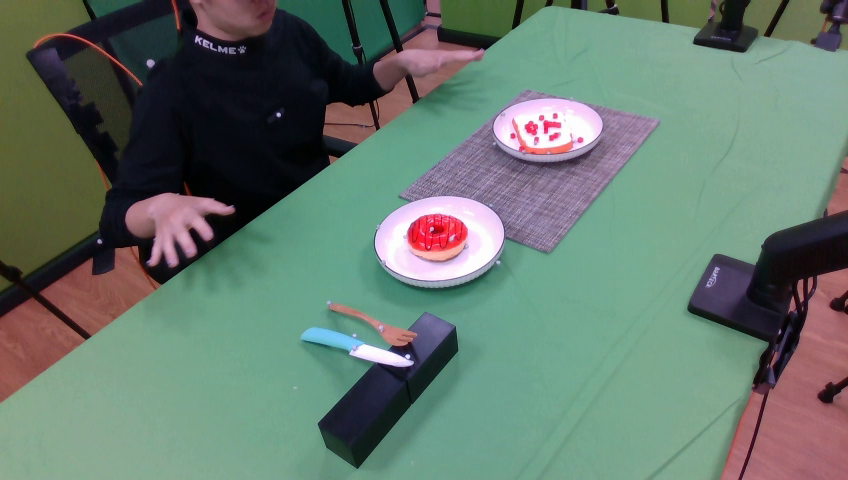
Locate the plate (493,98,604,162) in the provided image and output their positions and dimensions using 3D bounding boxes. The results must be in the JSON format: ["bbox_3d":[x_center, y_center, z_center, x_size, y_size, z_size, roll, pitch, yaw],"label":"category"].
[{"bbox_3d":[0.237,-0.206,1.158,0.209,0.038,0.208,-4,40,4],"label":"plate"}]

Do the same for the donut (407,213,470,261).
[{"bbox_3d":[0.022,-0.006,0.944,0.099,0.048,0.098,-4,38,3],"label":"donut"}]

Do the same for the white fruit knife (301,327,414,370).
[{"bbox_3d":[-0.088,0.140,0.781,0.205,0.016,0.027,8,42,42],"label":"white fruit knife"}]

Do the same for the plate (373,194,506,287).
[{"bbox_3d":[0.025,0.003,0.951,0.207,0.039,0.206,-4,41,4],"label":"plate"}]

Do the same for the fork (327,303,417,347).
[{"bbox_3d":[-0.077,0.110,0.811,0.028,0.019,0.205,-41,33,-26],"label":"fork"}]

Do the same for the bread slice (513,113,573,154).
[{"bbox_3d":[0.233,-0.205,1.160,0.105,0.019,0.131,-7,40,1],"label":"bread slice"}]
